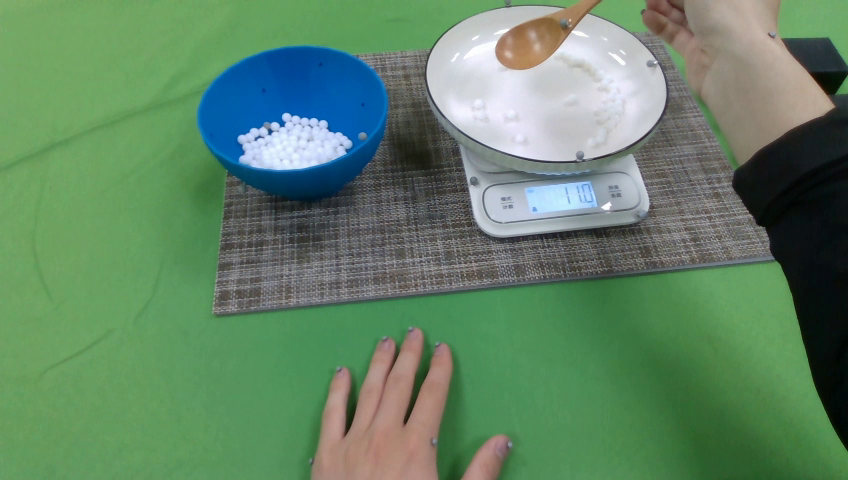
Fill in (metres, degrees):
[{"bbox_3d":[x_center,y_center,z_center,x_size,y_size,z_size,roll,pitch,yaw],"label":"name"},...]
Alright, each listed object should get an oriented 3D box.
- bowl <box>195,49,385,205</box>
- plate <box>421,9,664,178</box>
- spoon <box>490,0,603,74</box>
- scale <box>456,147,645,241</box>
[{"bbox_3d":[-0.105,-0.083,0.513,0.151,0.077,0.150,0,54,0],"label":"bowl"},{"bbox_3d":[0.101,-0.128,0.534,0.209,0.038,0.207,1,54,0],"label":"plate"},{"bbox_3d":[0.137,-0.184,0.457,0.193,0.022,0.041,-29,67,22],"label":"spoon"},{"bbox_3d":[0.103,-0.091,0.547,0.149,0.032,0.199,-6,54,-4],"label":"scale"}]
